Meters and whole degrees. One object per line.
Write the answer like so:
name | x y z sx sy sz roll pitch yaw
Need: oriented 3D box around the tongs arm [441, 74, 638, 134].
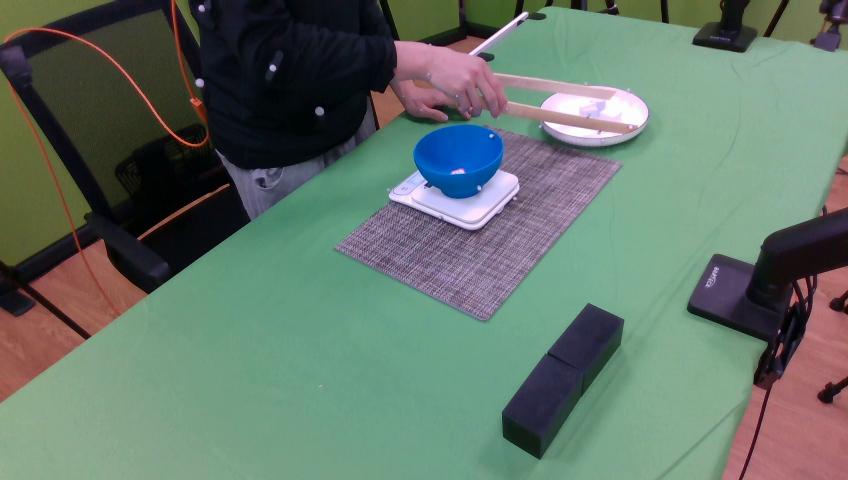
tongs arm | 0.212 -0.233 1.059 0.387 0.026 0.050 3 55 -24

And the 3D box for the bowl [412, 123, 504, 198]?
bowl | 0.060 -0.123 1.007 0.151 0.077 0.150 -5 41 5

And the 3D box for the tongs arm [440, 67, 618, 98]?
tongs arm | 0.200 -0.280 1.091 0.390 0.027 0.028 -2 61 -28

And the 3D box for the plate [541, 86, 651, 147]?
plate | 0.333 -0.239 1.186 0.207 0.039 0.206 -4 41 4

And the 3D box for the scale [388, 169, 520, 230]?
scale | 0.050 -0.090 1.051 0.199 0.032 0.149 24 49 31
